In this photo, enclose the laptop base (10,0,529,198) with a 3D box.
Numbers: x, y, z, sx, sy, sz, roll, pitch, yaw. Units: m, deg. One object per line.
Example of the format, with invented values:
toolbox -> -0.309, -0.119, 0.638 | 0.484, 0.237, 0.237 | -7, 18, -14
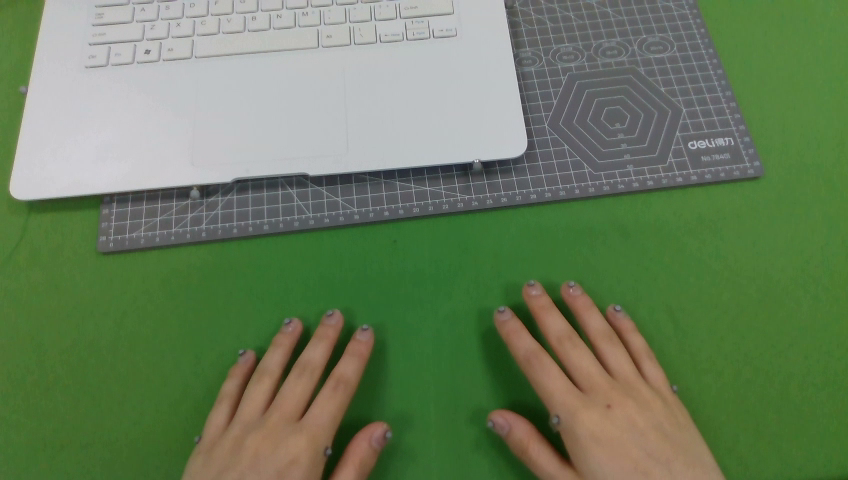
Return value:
laptop base -> -0.112, -0.147, 0.456 | 0.354, 0.023, 0.234 | -5, 70, -1
